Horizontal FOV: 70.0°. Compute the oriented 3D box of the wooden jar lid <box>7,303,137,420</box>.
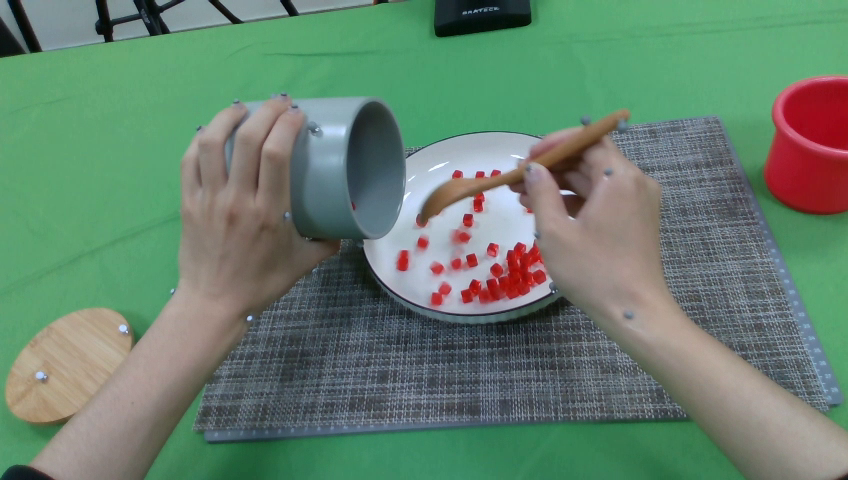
[{"bbox_3d":[-0.294,0.103,0.513,0.108,0.021,0.107,-5,50,6],"label":"wooden jar lid"}]

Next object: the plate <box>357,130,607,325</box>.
[{"bbox_3d":[0.048,-0.012,0.519,0.207,0.039,0.205,-6,50,7],"label":"plate"}]

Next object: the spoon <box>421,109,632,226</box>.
[{"bbox_3d":[0.060,-0.047,0.418,0.193,0.022,0.041,-19,30,45],"label":"spoon"}]

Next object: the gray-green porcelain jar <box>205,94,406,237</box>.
[{"bbox_3d":[-0.092,-0.056,0.465,0.126,0.107,0.105,3,51,20],"label":"gray-green porcelain jar"}]
